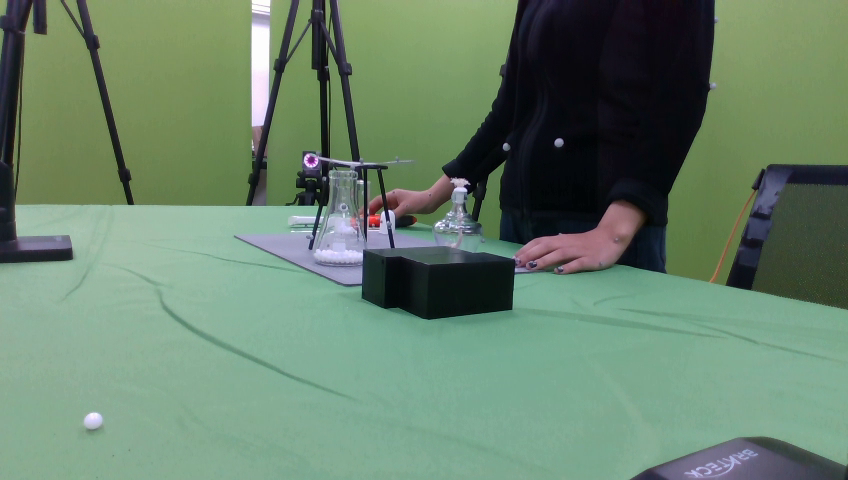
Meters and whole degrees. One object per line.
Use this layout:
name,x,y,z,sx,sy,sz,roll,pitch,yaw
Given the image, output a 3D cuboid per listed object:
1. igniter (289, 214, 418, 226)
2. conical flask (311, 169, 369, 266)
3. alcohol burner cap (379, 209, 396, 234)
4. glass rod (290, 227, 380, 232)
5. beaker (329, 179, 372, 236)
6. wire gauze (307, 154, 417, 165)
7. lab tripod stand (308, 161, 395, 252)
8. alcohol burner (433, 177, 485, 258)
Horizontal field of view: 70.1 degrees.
igniter,-0.141,-0.042,1.258,0.278,0.025,0.057,-1,-1,-29
conical flask,-0.107,-0.031,0.786,0.075,0.122,0.075,2,8,0
alcohol burner cap,-0.069,-0.036,1.154,0.034,0.048,0.034,2,7,0
glass rod,-0.161,-0.022,1.178,0.201,0.008,0.008,-2,8,-28
beaker,-0.137,-0.061,1.101,0.084,0.100,0.074,4,7,20
wire gauze,-0.094,-0.120,0.913,0.122,0.011,0.124,-5,11,-45
lab tripod stand,-0.098,-0.053,0.919,0.148,0.131,0.148,4,7,0
alcohol burner,0.052,-0.033,0.894,0.078,0.119,0.078,2,9,0
